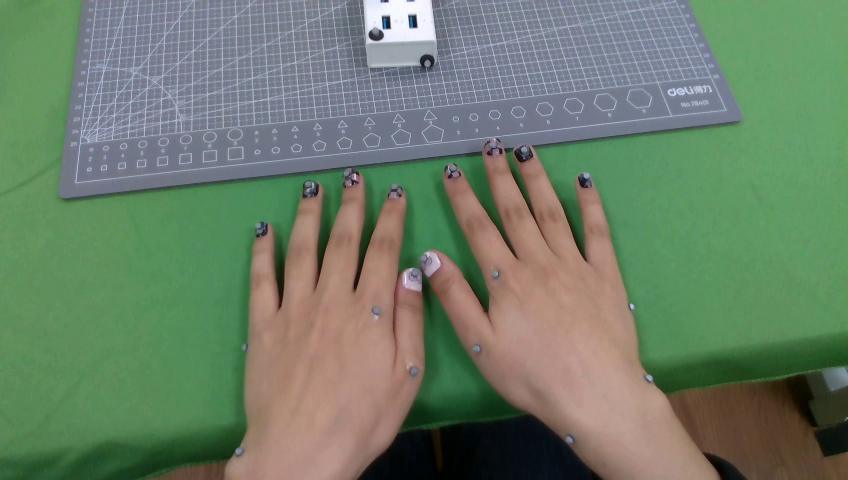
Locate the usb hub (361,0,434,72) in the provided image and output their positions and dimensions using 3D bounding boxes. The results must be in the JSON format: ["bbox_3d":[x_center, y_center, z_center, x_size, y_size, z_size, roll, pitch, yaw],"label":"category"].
[{"bbox_3d":[-0.023,-0.179,0.444,0.049,0.025,0.124,-4,63,-4],"label":"usb hub"}]
